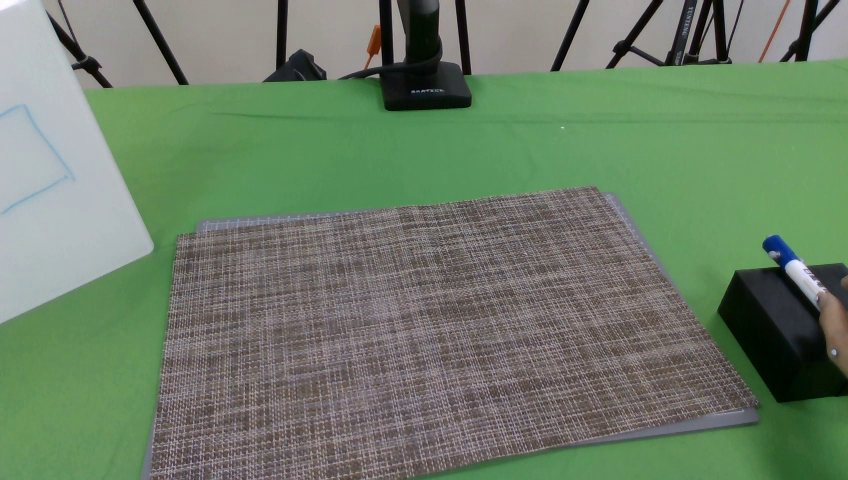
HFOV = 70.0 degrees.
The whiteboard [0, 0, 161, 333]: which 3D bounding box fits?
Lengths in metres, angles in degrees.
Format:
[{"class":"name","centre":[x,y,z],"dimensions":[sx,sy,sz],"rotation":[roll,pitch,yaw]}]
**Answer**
[{"class":"whiteboard","centre":[-0.408,-0.085,0.513],"dimensions":[0.217,0.308,0.142],"rotation":[-31,31,-32]}]

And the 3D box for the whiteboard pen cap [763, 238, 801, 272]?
[{"class":"whiteboard pen cap","centre":[0.309,0.014,0.520],"dimensions":[0.018,0.018,0.033],"rotation":[-6,40,-8]}]

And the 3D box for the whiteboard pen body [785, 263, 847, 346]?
[{"class":"whiteboard pen body","centre":[0.318,0.054,0.475],"dimensions":[0.017,0.017,0.139],"rotation":[-5,40,-7]}]
